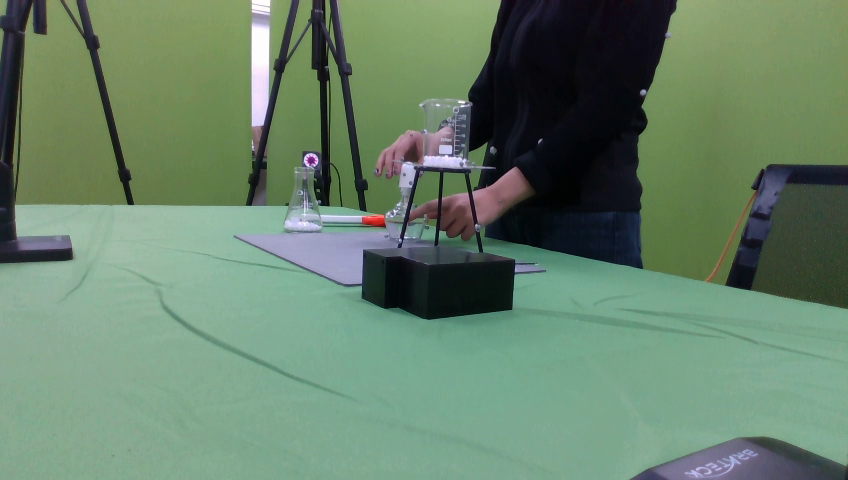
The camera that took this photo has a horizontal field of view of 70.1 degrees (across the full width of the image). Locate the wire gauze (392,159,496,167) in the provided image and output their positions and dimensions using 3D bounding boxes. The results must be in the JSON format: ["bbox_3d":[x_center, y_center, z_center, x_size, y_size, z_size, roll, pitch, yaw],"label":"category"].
[{"bbox_3d":[0.032,-0.114,0.923,0.124,0.011,0.122,5,5,32],"label":"wire gauze"}]

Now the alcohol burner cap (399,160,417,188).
[{"bbox_3d":[-0.028,-0.114,1.048,0.034,0.048,0.034,1,4,0],"label":"alcohol burner cap"}]

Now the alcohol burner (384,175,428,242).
[{"bbox_3d":[-0.031,-0.057,1.051,0.078,0.119,0.078,2,10,0],"label":"alcohol burner"}]

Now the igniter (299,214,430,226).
[{"bbox_3d":[-0.123,-0.044,1.281,0.278,0.025,0.057,0,-2,-19],"label":"igniter"}]

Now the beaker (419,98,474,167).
[{"bbox_3d":[0.032,-0.161,0.913,0.084,0.100,0.074,1,7,-10],"label":"beaker"}]

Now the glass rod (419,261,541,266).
[{"bbox_3d":[0.080,0.031,0.807,0.201,0.008,0.008,1,6,-32],"label":"glass rod"}]

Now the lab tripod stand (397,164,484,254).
[{"bbox_3d":[0.029,-0.049,0.930,0.148,0.131,0.148,4,6,0],"label":"lab tripod stand"}]

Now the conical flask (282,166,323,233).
[{"bbox_3d":[-0.225,-0.076,1.129,0.075,0.122,0.075,2,8,0],"label":"conical flask"}]
